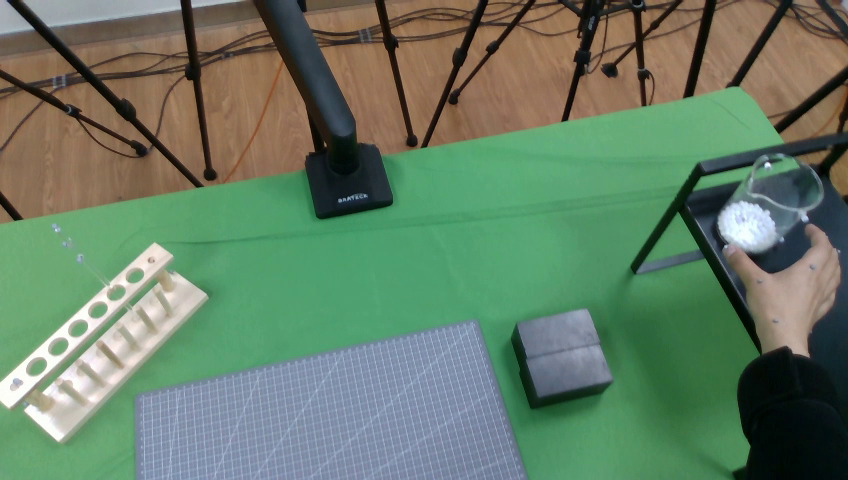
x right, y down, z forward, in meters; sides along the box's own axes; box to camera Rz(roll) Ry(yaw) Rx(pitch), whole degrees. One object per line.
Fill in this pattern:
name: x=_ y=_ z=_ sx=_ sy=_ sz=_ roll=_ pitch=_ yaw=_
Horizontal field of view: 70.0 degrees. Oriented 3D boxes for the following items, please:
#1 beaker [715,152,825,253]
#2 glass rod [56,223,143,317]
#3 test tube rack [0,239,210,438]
beaker: x=0.376 y=-0.037 z=0.674 sx=0.084 sy=0.101 sz=0.073 roll=-13 pitch=60 yaw=-10
glass rod: x=-0.384 y=0.042 z=0.727 sx=0.008 sy=0.201 sz=0.008 roll=-2 pitch=54 yaw=3
test tube rack: x=-0.389 y=0.119 z=0.757 sx=0.066 sy=0.086 sz=0.241 roll=32 pitch=63 yaw=16
